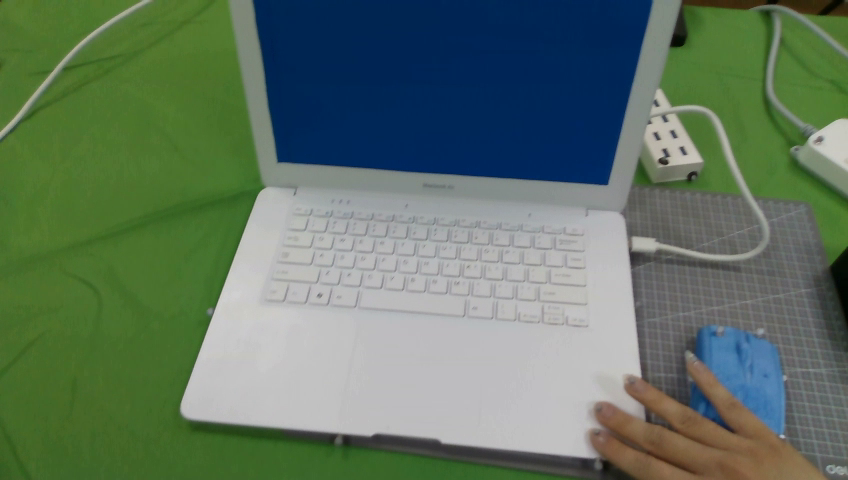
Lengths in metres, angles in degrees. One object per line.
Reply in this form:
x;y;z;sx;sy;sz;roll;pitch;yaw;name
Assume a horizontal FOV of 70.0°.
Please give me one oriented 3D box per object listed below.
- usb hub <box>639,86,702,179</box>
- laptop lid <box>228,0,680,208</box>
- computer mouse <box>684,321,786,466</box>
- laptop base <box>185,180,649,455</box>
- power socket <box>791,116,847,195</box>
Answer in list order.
0.246;-0.119;0.647;0.049;0.025;0.124;-7;53;-5;usb hub
0.016;-0.133;0.516;0.356;0.244;0.013;3;39;5;laptop lid
0.237;0.110;0.460;0.062;0.041;0.116;16;50;15;computer mouse
0.002;0.053;0.521;0.354;0.023;0.233;4;56;4;laptop base
0.471;-0.044;0.584;0.072;0.033;0.224;-27;57;-20;power socket
